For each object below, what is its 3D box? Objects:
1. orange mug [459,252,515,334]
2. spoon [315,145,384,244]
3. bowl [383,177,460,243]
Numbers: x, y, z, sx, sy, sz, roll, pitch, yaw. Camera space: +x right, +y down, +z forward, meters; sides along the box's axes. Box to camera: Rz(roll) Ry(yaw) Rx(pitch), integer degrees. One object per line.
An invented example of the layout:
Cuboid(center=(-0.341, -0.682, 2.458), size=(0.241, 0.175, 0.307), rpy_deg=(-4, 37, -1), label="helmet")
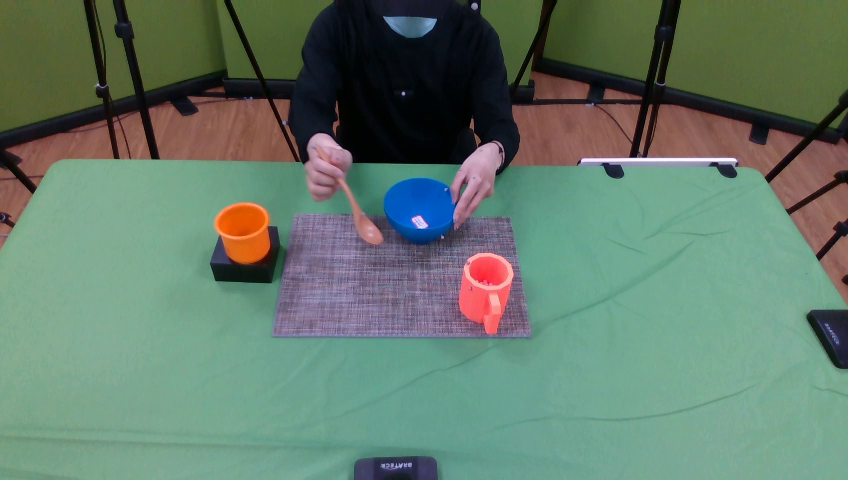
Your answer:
Cuboid(center=(0.111, 0.096, 1.052), size=(0.083, 0.101, 0.125), rpy_deg=(-4, 42, -7), label="orange mug")
Cuboid(center=(-0.123, -0.075, 1.000), size=(0.021, 0.194, 0.041), rpy_deg=(-23, 11, 34), label="spoon")
Cuboid(center=(-0.006, -0.047, 1.197), size=(0.151, 0.077, 0.150), rpy_deg=(2, 46, -1), label="bowl")
